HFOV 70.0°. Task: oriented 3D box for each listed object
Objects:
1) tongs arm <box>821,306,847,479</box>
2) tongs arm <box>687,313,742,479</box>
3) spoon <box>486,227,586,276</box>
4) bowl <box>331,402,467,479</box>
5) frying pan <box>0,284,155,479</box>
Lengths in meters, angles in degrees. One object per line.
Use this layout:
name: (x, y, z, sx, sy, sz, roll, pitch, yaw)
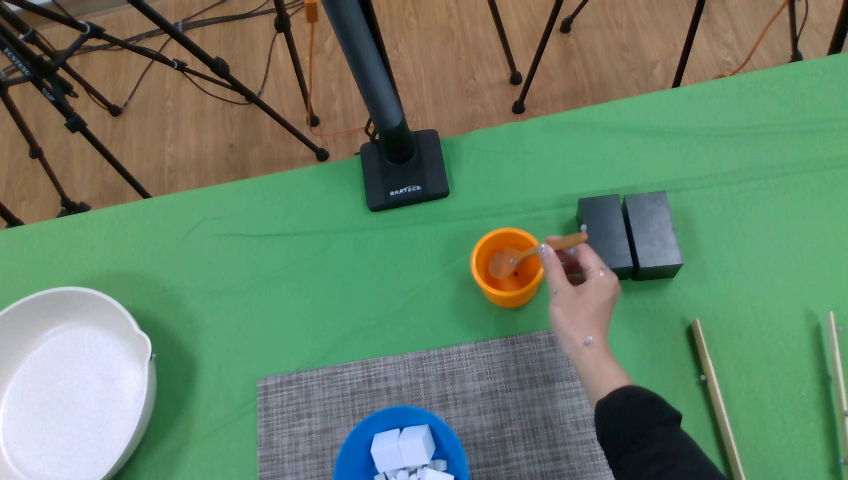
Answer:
tongs arm: (0.434, 0.259, 0.650, 0.050, 0.027, 0.382, 1, 70, 11)
tongs arm: (0.355, 0.265, 0.665, 0.028, 0.028, 0.384, -10, 67, 3)
spoon: (0.123, 0.011, 0.699, 0.022, 0.193, 0.041, 14, 74, -17)
bowl: (-0.022, 0.266, 0.690, 0.151, 0.077, 0.150, -3, 68, 8)
frying pan: (-0.445, 0.284, 0.738, 0.307, 0.104, 0.482, -25, 58, -1)
